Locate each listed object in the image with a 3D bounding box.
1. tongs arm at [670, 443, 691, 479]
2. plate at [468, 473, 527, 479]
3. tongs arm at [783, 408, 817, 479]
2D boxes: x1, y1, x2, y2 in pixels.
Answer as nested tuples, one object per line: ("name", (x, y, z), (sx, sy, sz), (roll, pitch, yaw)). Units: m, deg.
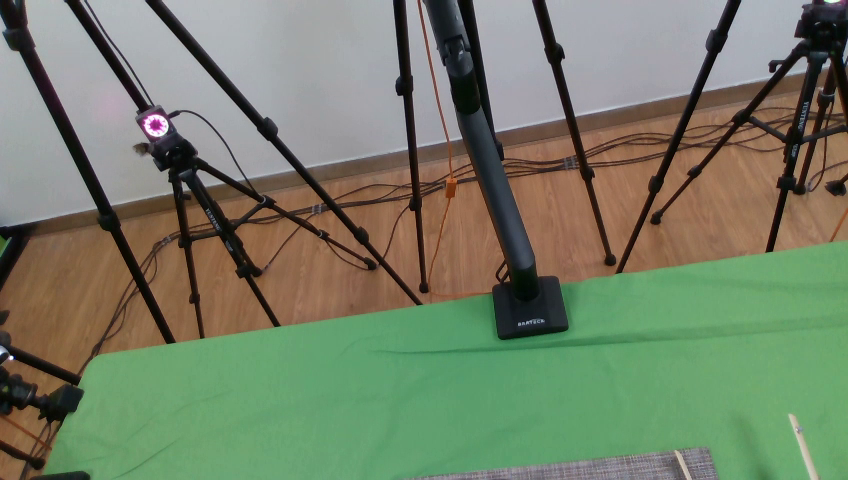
("tongs arm", (0.381, 0.414, 0.701), (0.028, 0.028, 0.383), (-32, 43, 16))
("plate", (0.096, 0.412, 0.784), (0.207, 0.039, 0.205), (-8, 47, 9))
("tongs arm", (0.444, 0.377, 0.665), (0.050, 0.027, 0.381), (-24, 47, 28))
